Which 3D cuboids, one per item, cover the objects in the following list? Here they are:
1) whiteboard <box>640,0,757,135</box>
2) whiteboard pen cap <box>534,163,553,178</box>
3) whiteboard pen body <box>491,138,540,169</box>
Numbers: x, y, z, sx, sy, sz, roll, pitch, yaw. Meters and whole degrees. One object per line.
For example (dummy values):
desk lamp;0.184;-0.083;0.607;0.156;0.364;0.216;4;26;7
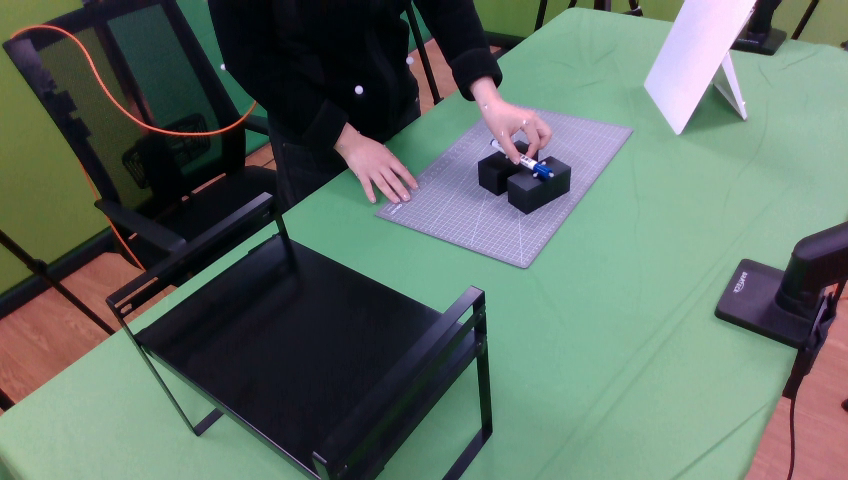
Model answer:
whiteboard;0.575;-0.366;1.147;0.144;0.305;0.216;10;39;-10
whiteboard pen cap;0.198;-0.116;1.003;0.018;0.018;0.033;-28;42;-22
whiteboard pen body;0.164;-0.145;1.041;0.017;0.017;0.139;-29;44;-23
